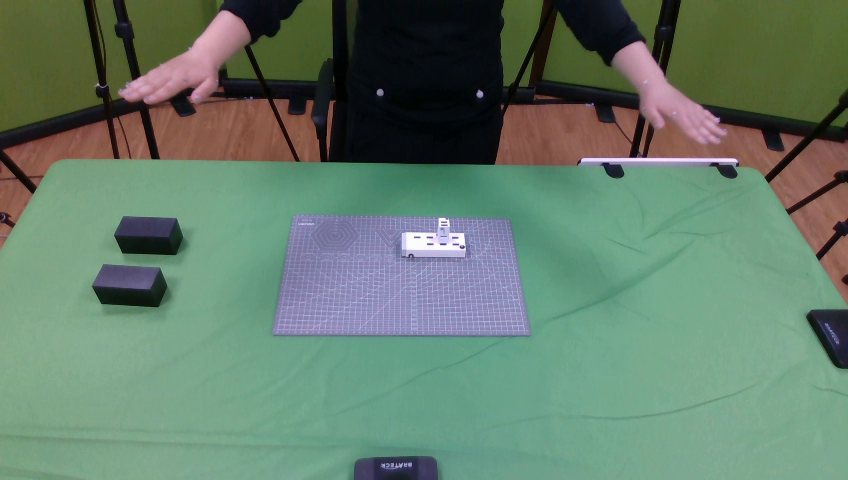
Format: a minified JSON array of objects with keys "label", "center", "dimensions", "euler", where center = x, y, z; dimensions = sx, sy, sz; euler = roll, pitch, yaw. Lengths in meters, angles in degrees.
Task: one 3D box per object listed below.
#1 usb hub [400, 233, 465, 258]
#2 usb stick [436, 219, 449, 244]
[{"label":"usb hub","center":[0.017,0.011,1.182],"dimensions":[0.125,0.025,0.049],"euler":[1,46,-3]},{"label":"usb stick","center":[0.035,-0.012,1.166],"dimensions":[0.021,0.059,0.027],"euler":[-2,48,-6]}]
